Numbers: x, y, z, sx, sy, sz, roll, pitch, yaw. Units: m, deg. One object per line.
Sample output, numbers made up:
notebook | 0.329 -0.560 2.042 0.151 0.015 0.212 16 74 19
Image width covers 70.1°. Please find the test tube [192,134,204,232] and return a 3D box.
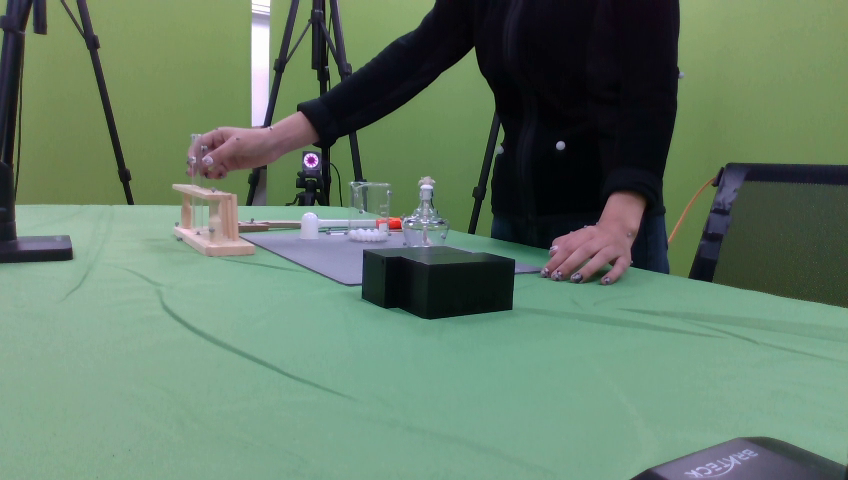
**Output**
test tube | -0.346 -0.087 0.925 0.017 0.150 0.017 2 7 0

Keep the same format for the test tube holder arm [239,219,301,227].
test tube holder arm | -0.296 -0.030 1.137 0.179 0.015 0.013 -6 45 -50

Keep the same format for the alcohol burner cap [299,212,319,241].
alcohol burner cap | -0.195 -0.024 1.025 0.034 0.048 0.034 3 7 0

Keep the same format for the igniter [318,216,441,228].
igniter | -0.090 -0.035 1.223 0.278 0.025 0.057 -2 -2 -31

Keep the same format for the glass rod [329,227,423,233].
glass rod | -0.087 -0.019 1.148 0.201 0.008 0.008 -3 8 -32

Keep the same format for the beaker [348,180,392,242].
beaker | -0.095 -0.049 1.027 0.074 0.100 0.084 5 9 25

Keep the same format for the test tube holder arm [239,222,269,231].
test tube holder arm | -0.322 -0.024 1.100 0.088 0.015 0.010 -5 44 -49

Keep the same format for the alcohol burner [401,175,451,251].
alcohol burner | 0.003 -0.042 0.947 0.078 0.119 0.078 1 9 0

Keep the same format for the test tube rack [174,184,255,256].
test tube rack | -0.327 -0.036 0.928 0.067 0.085 0.241 -2 9 -32
